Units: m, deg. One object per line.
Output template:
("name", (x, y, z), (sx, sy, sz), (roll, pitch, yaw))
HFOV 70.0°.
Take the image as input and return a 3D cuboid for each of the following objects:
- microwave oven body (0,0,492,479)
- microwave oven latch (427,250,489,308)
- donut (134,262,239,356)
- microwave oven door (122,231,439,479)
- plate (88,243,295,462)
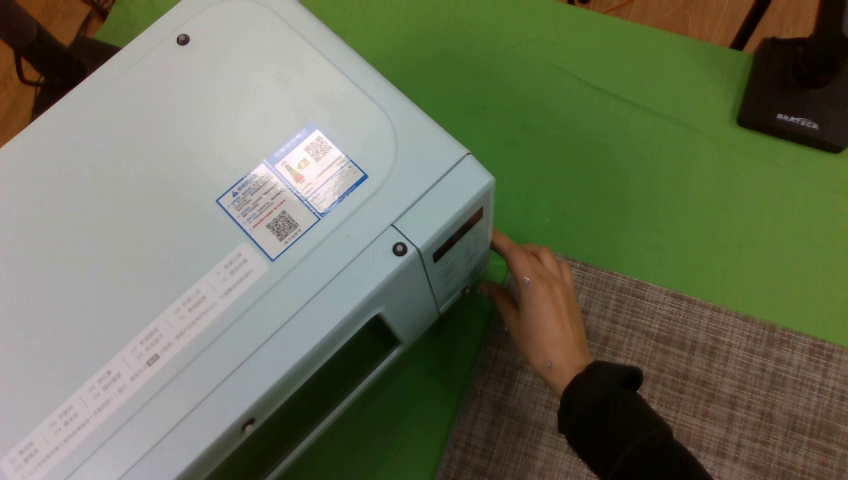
("microwave oven body", (-0.204, 0.029, 0.559), (0.441, 0.262, 0.324), (-44, 75, -8))
("microwave oven latch", (0.034, 0.034, 0.640), (0.079, 0.030, 0.030), (-44, 75, -8))
("donut", (-0.233, 0.068, 0.598), (0.099, 0.048, 0.098), (3, 60, -5))
("microwave oven door", (-0.132, 0.153, 0.509), (0.355, 0.245, 0.039), (-44, 73, -9))
("plate", (-0.217, 0.104, 0.579), (0.209, 0.038, 0.207), (-5, 67, 11))
